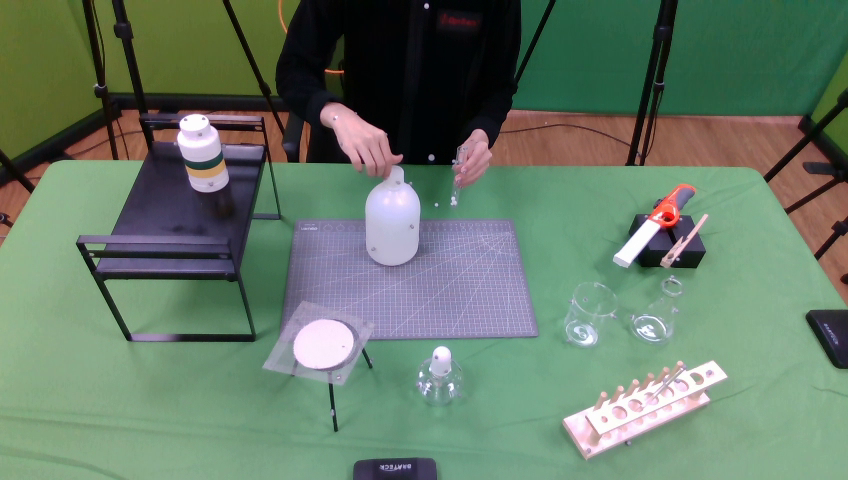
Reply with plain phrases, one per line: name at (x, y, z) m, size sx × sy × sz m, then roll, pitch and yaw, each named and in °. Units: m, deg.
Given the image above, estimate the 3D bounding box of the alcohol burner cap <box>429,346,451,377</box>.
alcohol burner cap at (0.026, 0.180, 0.912) m, size 0.034 × 0.048 × 0.033 m, roll 1°, pitch 47°, yaw -1°

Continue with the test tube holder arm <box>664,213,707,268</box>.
test tube holder arm at (0.507, -0.001, 1.171) m, size 0.013 × 0.015 × 0.178 m, roll 33°, pitch 53°, yaw 26°

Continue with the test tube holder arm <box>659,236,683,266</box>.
test tube holder arm at (0.472, 0.020, 1.149) m, size 0.010 × 0.015 × 0.088 m, roll 34°, pitch 54°, yaw 27°

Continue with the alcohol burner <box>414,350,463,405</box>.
alcohol burner at (0.023, 0.205, 0.939) m, size 0.078 × 0.120 × 0.077 m, roll 1°, pitch 48°, yaw -1°

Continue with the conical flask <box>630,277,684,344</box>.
conical flask at (0.408, 0.117, 1.045) m, size 0.075 × 0.122 × 0.075 m, roll 2°, pitch 46°, yaw -2°

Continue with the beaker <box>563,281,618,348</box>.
beaker at (0.283, 0.129, 1.041) m, size 0.074 × 0.101 × 0.083 m, roll 11°, pitch 46°, yaw 7°

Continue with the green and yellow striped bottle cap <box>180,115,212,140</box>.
green and yellow striped bottle cap at (-0.358, -0.177, 0.951) m, size 0.045 × 0.020 × 0.045 m, roll 2°, pitch 45°, yaw -2°

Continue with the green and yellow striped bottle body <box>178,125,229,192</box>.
green and yellow striped bottle body at (-0.361, -0.142, 0.989) m, size 0.063 × 0.120 × 0.063 m, roll 2°, pitch 46°, yaw -2°

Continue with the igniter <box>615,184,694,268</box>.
igniter at (0.459, -0.035, 1.197) m, size 0.057 × 0.025 × 0.276 m, roll 32°, pitch 55°, yaw 27°

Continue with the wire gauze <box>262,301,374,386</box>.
wire gauze at (-0.150, 0.148, 0.873) m, size 0.121 × 0.011 × 0.124 m, roll 14°, pitch 46°, yaw 12°

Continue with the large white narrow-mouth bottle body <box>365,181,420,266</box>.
large white narrow-mouth bottle body at (-0.059, -0.048, 1.117) m, size 0.102 × 0.195 × 0.101 m, roll 2°, pitch 45°, yaw -2°

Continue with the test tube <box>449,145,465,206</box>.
test tube at (0.060, -0.115, 1.111) m, size 0.017 × 0.151 × 0.017 m, roll 2°, pitch 52°, yaw -3°

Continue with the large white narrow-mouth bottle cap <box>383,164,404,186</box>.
large white narrow-mouth bottle cap at (-0.053, -0.113, 1.053) m, size 0.038 × 0.024 × 0.037 m, roll 2°, pitch 45°, yaw -2°

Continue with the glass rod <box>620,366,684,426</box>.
glass rod at (0.323, 0.227, 0.866) m, size 0.008 × 0.200 × 0.008 m, roll 5°, pitch 51°, yaw -6°

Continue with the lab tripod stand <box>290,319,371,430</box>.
lab tripod stand at (-0.146, 0.193, 0.923) m, size 0.148 × 0.132 × 0.147 m, roll 1°, pitch 47°, yaw -1°

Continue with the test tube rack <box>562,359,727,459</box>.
test tube rack at (0.341, 0.247, 0.940) m, size 0.243 × 0.085 × 0.066 m, roll -16°, pitch 49°, yaw -18°
